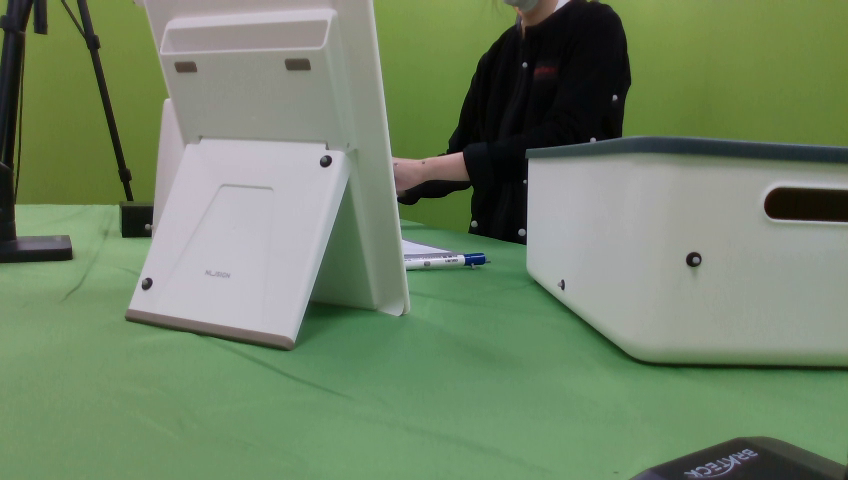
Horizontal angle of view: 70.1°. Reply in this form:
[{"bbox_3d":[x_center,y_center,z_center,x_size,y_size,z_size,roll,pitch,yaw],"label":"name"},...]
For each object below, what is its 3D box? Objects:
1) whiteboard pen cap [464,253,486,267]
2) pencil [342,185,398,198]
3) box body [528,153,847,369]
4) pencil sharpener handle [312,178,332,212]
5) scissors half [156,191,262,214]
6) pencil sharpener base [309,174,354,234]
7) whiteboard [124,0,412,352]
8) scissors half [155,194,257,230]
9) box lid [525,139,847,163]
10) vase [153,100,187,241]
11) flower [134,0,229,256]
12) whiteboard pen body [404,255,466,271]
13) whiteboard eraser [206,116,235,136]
[{"bbox_3d":[0.066,0.027,0.818,0.033,0.018,0.018,-6,10,-24],"label":"whiteboard pen cap"},{"bbox_3d":[-0.096,-0.083,1.018,0.012,0.012,0.193,-2,9,-33],"label":"pencil"},{"bbox_3d":[0.258,-0.005,0.591,0.254,0.160,0.363,2,7,-4],"label":"box body"},{"bbox_3d":[-0.205,-0.088,1.179,0.036,0.067,0.030,9,2,-33],"label":"pencil sharpener handle"},{"bbox_3d":[-0.371,-0.069,1.051,0.176,0.040,0.013,2,25,-24],"label":"scissors half"},{"bbox_3d":[-0.176,-0.069,1.139,0.062,0.107,0.076,-3,9,-32],"label":"pencil sharpener base"},{"bbox_3d":[-0.151,-0.049,0.472,0.216,0.305,0.144,6,27,24],"label":"whiteboard"},{"bbox_3d":[-0.378,-0.051,1.058,0.176,0.040,0.012,20,22,-31],"label":"scissors half"},{"bbox_3d":[0.261,-0.078,0.580,0.264,0.015,0.371,2,7,-4],"label":"box lid"},{"bbox_3d":[-0.278,-0.066,0.736,0.098,0.200,0.098,2,9,0],"label":"vase"},{"bbox_3d":[-0.282,-0.147,0.713,0.038,0.362,0.044,-23,23,-31],"label":"flower"},{"bbox_3d":[0.012,0.030,0.792,0.141,0.017,0.017,-3,9,-24],"label":"whiteboard pen body"},{"bbox_3d":[-0.450,-0.252,1.335,0.056,0.042,0.112,1,7,-22],"label":"whiteboard eraser"}]
